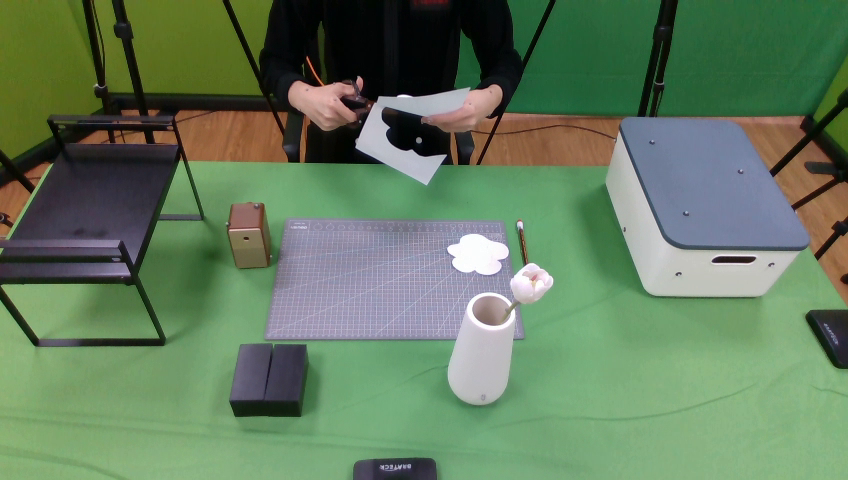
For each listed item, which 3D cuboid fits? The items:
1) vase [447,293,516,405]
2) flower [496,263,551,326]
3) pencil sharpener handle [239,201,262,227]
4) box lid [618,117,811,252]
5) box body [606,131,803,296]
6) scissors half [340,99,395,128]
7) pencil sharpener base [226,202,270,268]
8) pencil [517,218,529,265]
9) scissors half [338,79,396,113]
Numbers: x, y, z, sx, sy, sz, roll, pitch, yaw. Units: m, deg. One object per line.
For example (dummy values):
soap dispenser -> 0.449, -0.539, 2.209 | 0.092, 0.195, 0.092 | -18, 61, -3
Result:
vase -> 0.091, 0.169, 0.921 | 0.098, 0.201, 0.097 | 3, 47, -3
flower -> 0.102, 0.120, 0.853 | 0.044, 0.363, 0.038 | -2, 64, -10
pencil sharpener handle -> -0.325, -0.056, 1.150 | 0.036, 0.068, 0.030 | -13, 47, 4
box lid -> 0.534, -0.117, 1.149 | 0.263, 0.015, 0.369 | 0, 47, -3
box body -> 0.530, -0.067, 1.204 | 0.254, 0.161, 0.361 | 0, 46, -4
scissors half -> -0.102, -0.231, 1.087 | 0.013, 0.040, 0.174 | -16, 7, -36
pencil sharpener base -> -0.323, -0.010, 1.123 | 0.061, 0.107, 0.076 | -3, 46, -7
pencil -> 0.201, 0.028, 1.197 | 0.012, 0.012, 0.193 | 1, 48, -3
scissors half -> -0.103, -0.253, 1.080 | 0.013, 0.040, 0.174 | -22, 40, -34
